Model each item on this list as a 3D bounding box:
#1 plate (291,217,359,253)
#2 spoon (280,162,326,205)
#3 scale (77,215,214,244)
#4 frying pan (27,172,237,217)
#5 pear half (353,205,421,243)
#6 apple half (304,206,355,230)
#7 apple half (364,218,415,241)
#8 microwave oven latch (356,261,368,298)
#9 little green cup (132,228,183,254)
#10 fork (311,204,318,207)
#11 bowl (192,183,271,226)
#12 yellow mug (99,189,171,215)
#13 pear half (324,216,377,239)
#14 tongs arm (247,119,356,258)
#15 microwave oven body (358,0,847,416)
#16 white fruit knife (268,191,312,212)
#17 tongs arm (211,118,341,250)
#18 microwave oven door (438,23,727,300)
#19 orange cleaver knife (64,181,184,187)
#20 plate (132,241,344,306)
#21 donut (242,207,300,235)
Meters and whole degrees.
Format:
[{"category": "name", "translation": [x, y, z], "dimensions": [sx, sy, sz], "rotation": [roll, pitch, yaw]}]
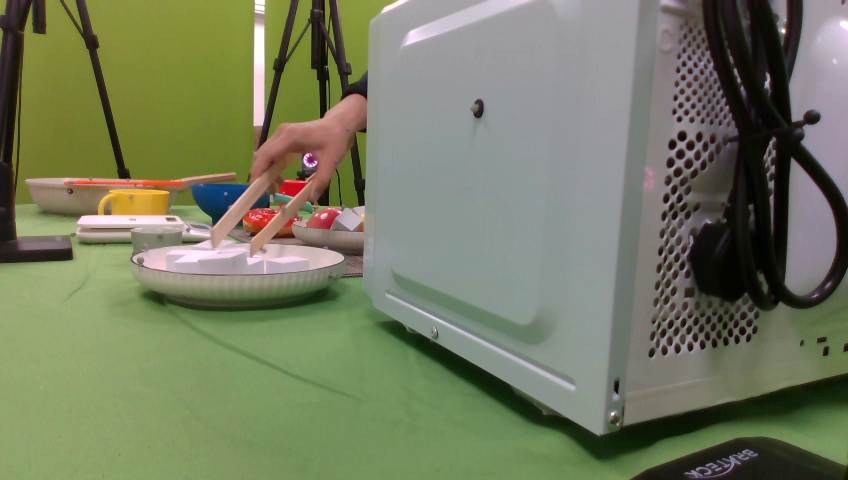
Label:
[{"category": "plate", "translation": [-0.103, -0.009, 0.945], "dimensions": [0.209, 0.038, 0.209], "rotation": [2, 7, 0]}, {"category": "spoon", "translation": [-0.317, -0.159, 1.640], "dimensions": [0.194, 0.022, 0.041], "rotation": [-49, 32, -20]}, {"category": "scale", "translation": [-0.434, -0.019, 0.963], "dimensions": [0.202, 0.031, 0.148], "rotation": [-1, 9, -27]}, {"category": "frying pan", "translation": [-0.624, -0.118, 1.387], "dimensions": [0.305, 0.102, 0.490], "rotation": [8, 17, 32]}, {"category": "pear half", "translation": [-0.051, -0.023, 0.905], "dimensions": [0.110, 0.056, 0.076], "rotation": [2, -3, -38]}, {"category": "apple half", "translation": [-0.138, -0.025, 0.917], "dimensions": [0.081, 0.053, 0.074], "rotation": [0, 10, -43]}, {"category": "apple half", "translation": [-0.054, -0.019, 0.966], "dimensions": [0.081, 0.033, 0.081], "rotation": [-3, 11, 1]}, {"category": "microwave oven latch", "translation": [-0.019, 0.033, 0.530], "dimensions": [0.079, 0.029, 0.030], "rotation": [-1, 7, -26]}, {"category": "little green cup", "translation": [-0.342, 0.006, 0.779], "dimensions": [0.061, 0.038, 0.061], "rotation": [2, 8, 0]}, {"category": "fork", "translation": [-0.356, -0.105, 1.526], "dimensions": [0.208, 0.018, 0.028], "rotation": [16, -5, -41]}, {"category": "bowl", "translation": [-0.382, -0.071, 1.202], "dimensions": [0.151, 0.077, 0.151], "rotation": [3, 7, 0]}, {"category": "yellow mug", "translation": [-0.519, -0.055, 1.080], "dimensions": [0.099, 0.064, 0.131], "rotation": [7, 9, 26]}, {"category": "pear half", "translation": [-0.119, -0.023, 0.996], "dimensions": [0.088, 0.031, 0.070], "rotation": [-5, 23, -27]}, {"category": "tongs arm", "translation": [-0.157, -0.087, 0.804], "dimensions": [0.051, 0.026, 0.385], "rotation": [15, 31, 8]}, {"category": "microwave oven body", "translation": [0.211, -0.047, 0.475], "dimensions": [0.444, 0.260, 0.324], "rotation": [-1, 7, -28]}, {"category": "white fruit knife", "translation": [-0.364, -0.105, 1.464], "dimensions": [0.208, 0.027, 0.016], "rotation": [15, -1, -34]}, {"category": "tongs arm", "translation": [-0.184, -0.093, 0.806], "dimensions": [0.028, 0.028, 0.387], "rotation": [10, 31, 7]}, {"category": "microwave oven door", "translation": [0.181, -0.073, 0.621], "dimensions": [0.358, 0.243, 0.039], "rotation": [-2, 8, -29]}, {"category": "orange cleaver knife", "translation": [-0.596, -0.113, 1.212], "dimensions": [0.212, 0.012, 0.077], "rotation": [-3, 7, -41]}, {"category": "plate", "translation": [-0.187, 0.033, 0.625], "dimensions": [0.208, 0.039, 0.207], "rotation": [2, 7, 0]}, {"category": "donut", "translation": [-0.263, -0.031, 1.039], "dimensions": [0.099, 0.048, 0.099], "rotation": [4, 9, 0]}]
